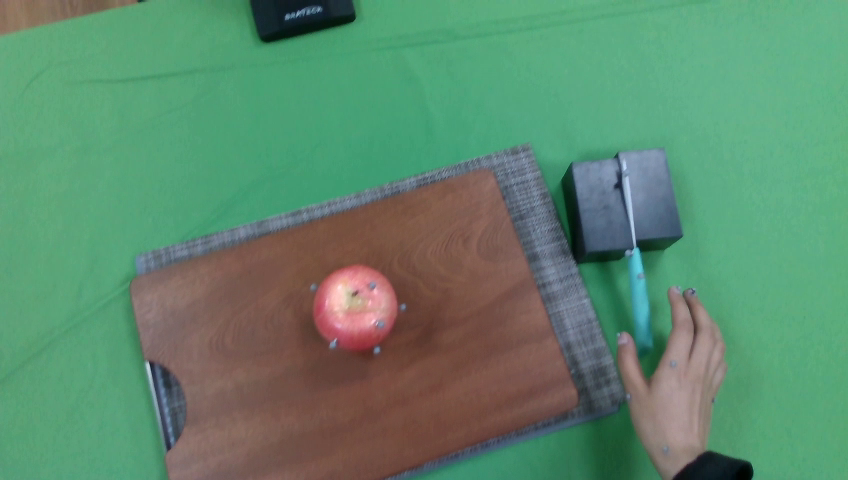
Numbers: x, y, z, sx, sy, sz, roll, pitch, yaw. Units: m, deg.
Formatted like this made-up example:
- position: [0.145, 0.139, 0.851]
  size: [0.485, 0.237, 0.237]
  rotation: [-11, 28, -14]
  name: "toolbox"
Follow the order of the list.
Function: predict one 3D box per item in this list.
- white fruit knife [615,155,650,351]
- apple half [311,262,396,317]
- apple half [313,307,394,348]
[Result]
- position: [0.214, 0.014, 0.631]
  size: [0.016, 0.027, 0.207]
  rotation: [-7, 89, -4]
  name: "white fruit knife"
- position: [-0.069, 0.050, 0.590]
  size: [0.081, 0.075, 0.053]
  rotation: [-6, 70, 2]
  name: "apple half"
- position: [-0.066, 0.088, 0.579]
  size: [0.081, 0.082, 0.032]
  rotation: [-4, 70, -2]
  name: "apple half"
